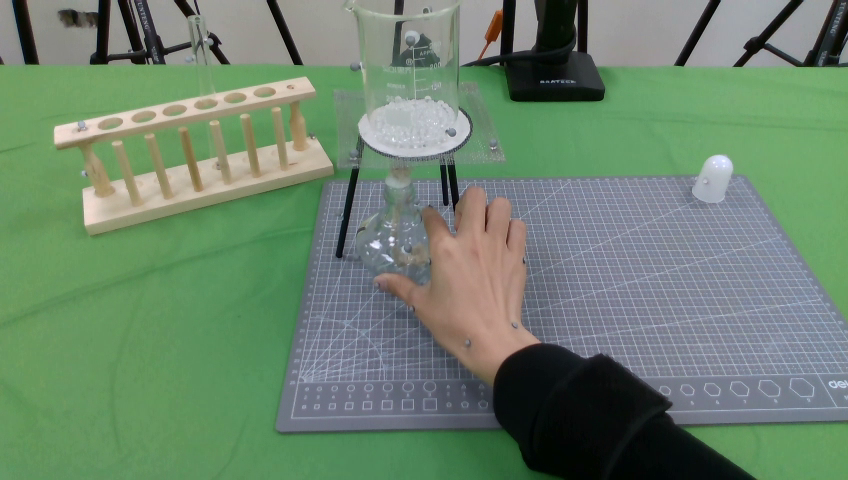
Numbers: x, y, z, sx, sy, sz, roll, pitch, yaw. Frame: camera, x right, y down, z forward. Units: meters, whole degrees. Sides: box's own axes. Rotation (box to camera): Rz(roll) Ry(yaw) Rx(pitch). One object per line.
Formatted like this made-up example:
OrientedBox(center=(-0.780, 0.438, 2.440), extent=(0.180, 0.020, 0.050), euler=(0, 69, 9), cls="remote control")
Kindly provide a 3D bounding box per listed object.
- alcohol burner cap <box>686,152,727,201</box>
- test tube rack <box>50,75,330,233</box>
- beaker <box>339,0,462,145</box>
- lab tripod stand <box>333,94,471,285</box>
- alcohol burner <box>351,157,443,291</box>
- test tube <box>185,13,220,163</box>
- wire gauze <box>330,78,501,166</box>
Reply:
OrientedBox(center=(0.287, -0.066, 0.611), extent=(0.034, 0.048, 0.033), euler=(0, 42, 0), cls="alcohol burner cap")
OrientedBox(center=(-0.224, -0.090, 0.608), extent=(0.243, 0.086, 0.066), euler=(-17, 45, -18), cls="test tube rack")
OrientedBox(center=(-0.015, -0.127, 0.437), extent=(0.084, 0.101, 0.073), euler=(1, 41, 3), cls="beaker")
OrientedBox(center=(-0.011, -0.044, 0.516), extent=(0.148, 0.133, 0.147), euler=(0, 44, 1), cls="lab tripod stand")
OrientedBox(center=(-0.022, -0.016, 0.500), extent=(0.078, 0.120, 0.077), euler=(0, 40, 0), cls="alcohol burner")
OrientedBox(center=(-0.214, -0.144, 0.593), extent=(0.017, 0.151, 0.017), euler=(3, 36, -2), cls="test tube")
OrientedBox(center=(-0.012, -0.092, 0.472), extent=(0.125, 0.011, 0.120), euler=(-6, 40, -3), cls="wire gauze")
